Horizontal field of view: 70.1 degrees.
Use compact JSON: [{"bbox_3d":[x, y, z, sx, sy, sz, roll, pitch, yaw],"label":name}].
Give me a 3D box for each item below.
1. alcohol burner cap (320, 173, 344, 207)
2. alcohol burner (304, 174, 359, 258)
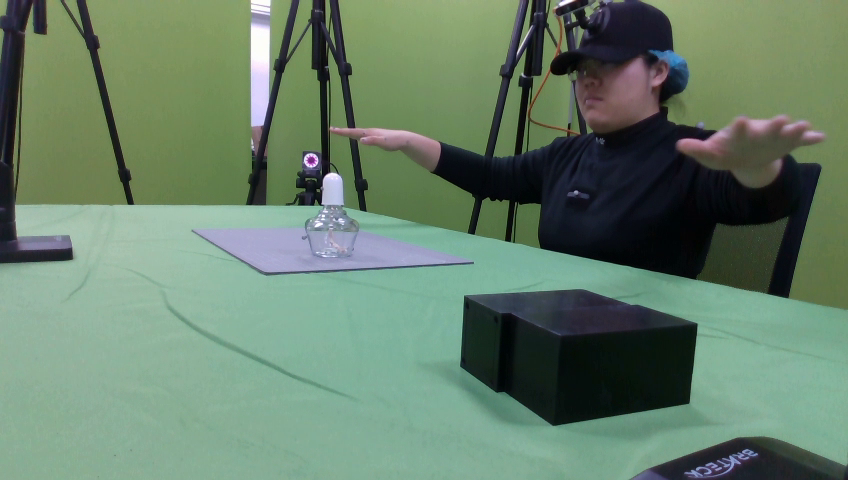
[{"bbox_3d":[-0.129,-0.071,0.848,0.034,0.048,0.034,1,2,0],"label":"alcohol burner cap"},{"bbox_3d":[-0.130,-0.035,0.851,0.078,0.119,0.078,2,5,0],"label":"alcohol burner"}]
